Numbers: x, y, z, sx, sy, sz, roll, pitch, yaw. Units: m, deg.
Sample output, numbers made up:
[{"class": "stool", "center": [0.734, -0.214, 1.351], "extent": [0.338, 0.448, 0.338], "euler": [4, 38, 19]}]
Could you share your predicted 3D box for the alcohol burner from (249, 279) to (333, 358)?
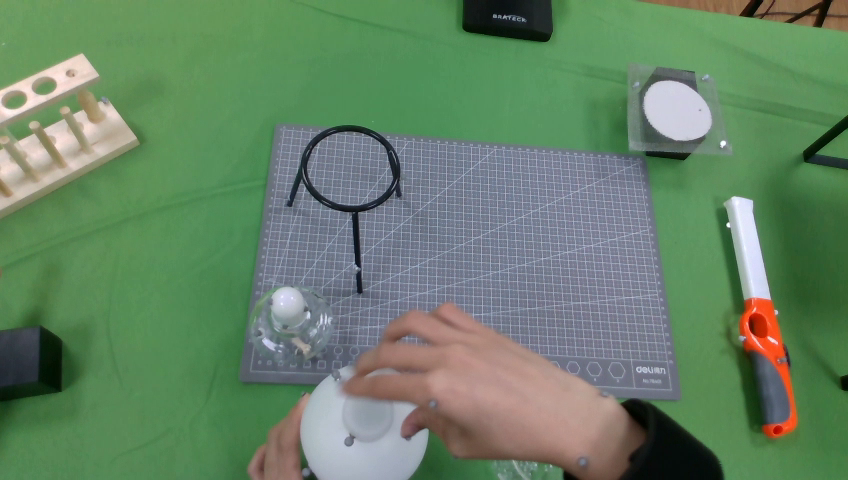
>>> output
[{"class": "alcohol burner", "center": [-0.123, 0.067, 0.558], "extent": [0.078, 0.119, 0.077], "euler": [4, 65, -8]}]

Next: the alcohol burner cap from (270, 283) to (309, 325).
[{"class": "alcohol burner cap", "center": [-0.118, 0.054, 0.525], "extent": [0.034, 0.048, 0.033], "euler": [2, 72, -6]}]

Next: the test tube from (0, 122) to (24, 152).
[{"class": "test tube", "center": [-0.412, -0.128, 0.565], "extent": [0.017, 0.151, 0.017], "euler": [4, 61, -7]}]

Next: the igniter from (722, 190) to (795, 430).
[{"class": "igniter", "center": [0.372, 0.070, 0.678], "extent": [0.057, 0.025, 0.274], "euler": [9, 66, -16]}]

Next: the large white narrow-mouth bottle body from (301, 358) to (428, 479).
[{"class": "large white narrow-mouth bottle body", "center": [-0.048, 0.151, 0.492], "extent": [0.102, 0.195, 0.101], "euler": [3, 66, -6]}]

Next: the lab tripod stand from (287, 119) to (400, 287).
[{"class": "lab tripod stand", "center": [-0.072, -0.042, 0.601], "extent": [0.149, 0.132, 0.147], "euler": [4, 67, -8]}]

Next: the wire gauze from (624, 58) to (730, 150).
[{"class": "wire gauze", "center": [0.299, -0.162, 0.725], "extent": [0.122, 0.011, 0.124], "euler": [6, 67, -6]}]

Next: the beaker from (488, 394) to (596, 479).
[{"class": "beaker", "center": [0.099, 0.184, 0.551], "extent": [0.084, 0.101, 0.073], "euler": [30, 65, 7]}]

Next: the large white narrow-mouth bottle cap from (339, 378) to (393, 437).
[{"class": "large white narrow-mouth bottle cap", "center": [-0.039, 0.114, 0.411], "extent": [0.038, 0.024, 0.037], "euler": [3, 66, -6]}]

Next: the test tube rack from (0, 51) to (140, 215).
[{"class": "test tube rack", "center": [-0.421, -0.085, 0.599], "extent": [0.242, 0.085, 0.066], "euler": [-35, 75, -20]}]

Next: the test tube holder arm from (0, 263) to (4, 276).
[{"class": "test tube holder arm", "center": [-0.388, 0.059, 0.526], "extent": [0.010, 0.015, 0.087], "euler": [7, 65, -5]}]
